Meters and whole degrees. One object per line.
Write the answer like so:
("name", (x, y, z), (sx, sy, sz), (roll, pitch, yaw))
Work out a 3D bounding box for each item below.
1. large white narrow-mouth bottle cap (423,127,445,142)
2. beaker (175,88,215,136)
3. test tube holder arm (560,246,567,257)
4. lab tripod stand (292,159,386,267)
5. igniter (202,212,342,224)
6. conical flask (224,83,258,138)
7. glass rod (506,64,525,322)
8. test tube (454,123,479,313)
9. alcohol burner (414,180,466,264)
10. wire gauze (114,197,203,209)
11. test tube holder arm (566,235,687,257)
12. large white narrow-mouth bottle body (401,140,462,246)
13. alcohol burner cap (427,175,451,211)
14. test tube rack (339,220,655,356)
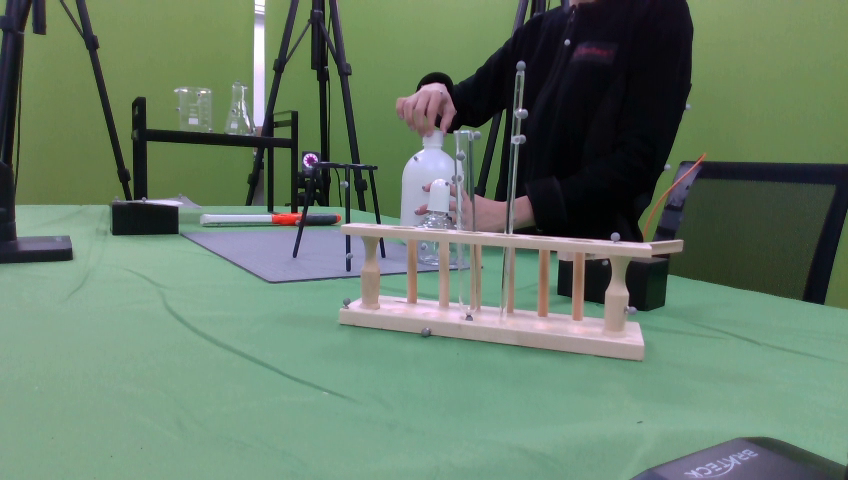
("large white narrow-mouth bottle cap", (0.016, -0.177, 1.017), (0.038, 0.024, 0.037), (2, 8, 0))
("beaker", (-0.511, -0.285, 1.353), (0.084, 0.100, 0.073), (-2, 8, -25))
("test tube holder arm", (0.173, 0.007, 0.611), (0.088, 0.015, 0.010), (-3, 9, -30))
("lab tripod stand", (-0.105, -0.039, 0.798), (0.148, 0.131, 0.148), (2, 5, 0))
("igniter", (-0.298, -0.044, 1.216), (0.278, 0.025, 0.057), (-2, -2, -33))
("conical flask", (-0.422, -0.299, 1.395), (0.075, 0.122, 0.075), (2, 7, 0))
("glass rod", (0.069, -0.030, 0.458), (0.008, 0.199, 0.008), (0, 15, 0))
("test tube", (0.034, -0.016, 0.477), (0.017, 0.150, 0.017), (-2, 9, 1))
("alcohol burner", (0.021, -0.028, 0.826), (0.078, 0.119, 0.078), (0, 6, 0))
("wire gauze", (-0.447, -0.062, 1.015), (0.126, 0.011, 0.121), (-2, 8, -31))
("test tube holder arm", (0.215, 0.006, 0.630), (0.179, 0.015, 0.013), (-3, 9, -31))
("large white narrow-mouth bottle body", (0.014, -0.092, 1.030), (0.102, 0.194, 0.102), (2, 8, 0))
("alcohol burner cap", (0.023, -0.064, 0.822), (0.034, 0.048, 0.034), (7, 5, 0))
("test tube rack", (0.056, 0.032, 0.495), (0.242, 0.085, 0.067), (4, 7, 15))
